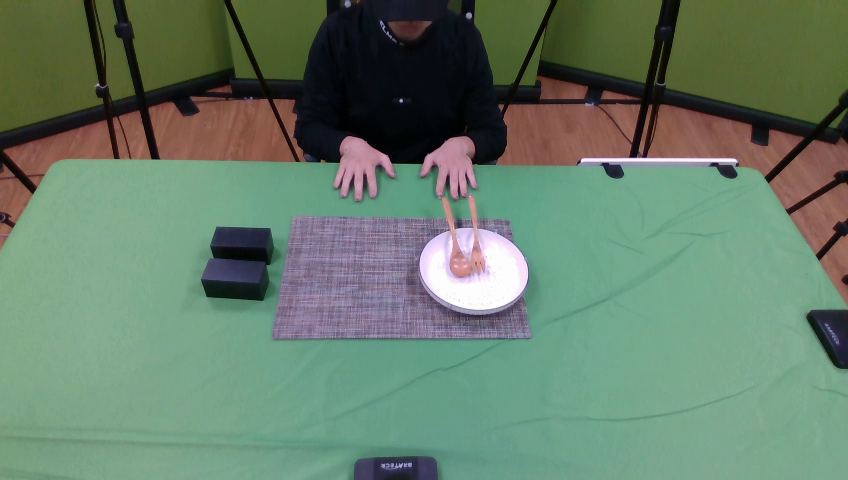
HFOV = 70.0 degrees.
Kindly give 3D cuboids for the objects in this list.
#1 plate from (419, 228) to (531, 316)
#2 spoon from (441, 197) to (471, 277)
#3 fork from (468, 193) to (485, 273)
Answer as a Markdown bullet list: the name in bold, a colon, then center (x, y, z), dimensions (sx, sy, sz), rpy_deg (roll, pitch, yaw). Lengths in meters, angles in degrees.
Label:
- **plate**: center (0.093, 0.062, 1.131), dimensions (0.208, 0.039, 0.206), rpy_deg (2, 46, -2)
- **spoon**: center (0.056, -0.010, 1.176), dimensions (0.041, 0.022, 0.192), rpy_deg (-6, 60, -8)
- **fork**: center (0.099, -0.017, 1.188), dimensions (0.028, 0.019, 0.206), rpy_deg (-1, 54, -1)
